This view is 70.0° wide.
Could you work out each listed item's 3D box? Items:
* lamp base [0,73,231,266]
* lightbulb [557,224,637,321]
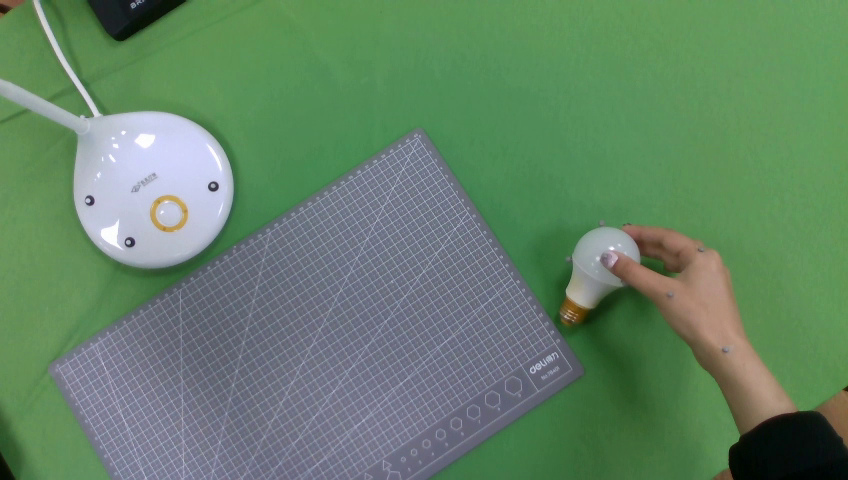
[{"bbox_3d":[-0.288,-0.070,0.541,0.178,0.181,0.160,43,87,8],"label":"lamp base"},{"bbox_3d":[0.159,0.034,0.578,0.059,0.059,0.108,27,117,4],"label":"lightbulb"}]
